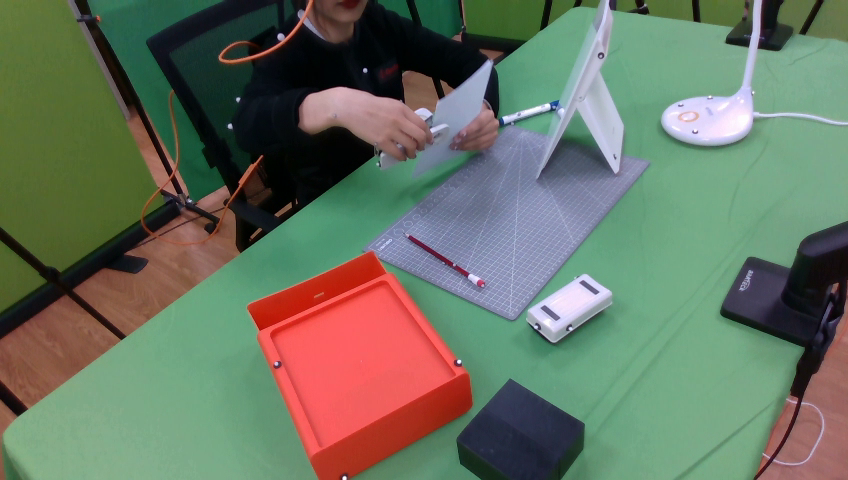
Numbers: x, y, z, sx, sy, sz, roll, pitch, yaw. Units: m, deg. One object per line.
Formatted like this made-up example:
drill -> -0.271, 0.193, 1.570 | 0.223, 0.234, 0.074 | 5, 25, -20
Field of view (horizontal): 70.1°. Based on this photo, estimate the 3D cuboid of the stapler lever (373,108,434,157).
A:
stapler lever -> -0.036, -0.173, 0.960 | 0.118, 0.027, 0.040 | -29, 68, -22

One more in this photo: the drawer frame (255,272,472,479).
drawer frame -> -0.079, 0.161, 0.760 | 0.202, 0.083, 0.211 | -24, 43, -18

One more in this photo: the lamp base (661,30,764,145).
lamp base -> 0.535, -0.287, 1.096 | 0.179, 0.181, 0.159 | -10, 40, -4

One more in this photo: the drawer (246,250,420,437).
drawer -> -0.108, 0.129, 0.804 | 0.195, 0.073, 0.210 | -23, 43, -18

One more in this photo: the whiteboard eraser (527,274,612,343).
whiteboard eraser -> 0.198, 0.094, 0.820 | 0.113, 0.042, 0.055 | -30, 43, -22

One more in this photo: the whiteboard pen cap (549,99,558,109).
whiteboard pen cap -> 0.275, -0.286, 1.267 | 0.033, 0.018, 0.018 | -17, 41, -12

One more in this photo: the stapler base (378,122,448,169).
stapler base -> -0.021, -0.156, 0.954 | 0.131, 0.041, 0.024 | -30, 68, -22

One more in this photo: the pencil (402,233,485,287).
pencil -> 0.026, 0.027, 0.949 | 0.012, 0.012, 0.192 | -34, 44, -26

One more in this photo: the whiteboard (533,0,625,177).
whiteboard -> 0.321, -0.258, 1.049 | 0.144, 0.306, 0.217 | 20, 45, 4

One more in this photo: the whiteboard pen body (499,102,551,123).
whiteboard pen body -> 0.221, -0.268, 1.257 | 0.141, 0.017, 0.017 | -19, 41, -12
